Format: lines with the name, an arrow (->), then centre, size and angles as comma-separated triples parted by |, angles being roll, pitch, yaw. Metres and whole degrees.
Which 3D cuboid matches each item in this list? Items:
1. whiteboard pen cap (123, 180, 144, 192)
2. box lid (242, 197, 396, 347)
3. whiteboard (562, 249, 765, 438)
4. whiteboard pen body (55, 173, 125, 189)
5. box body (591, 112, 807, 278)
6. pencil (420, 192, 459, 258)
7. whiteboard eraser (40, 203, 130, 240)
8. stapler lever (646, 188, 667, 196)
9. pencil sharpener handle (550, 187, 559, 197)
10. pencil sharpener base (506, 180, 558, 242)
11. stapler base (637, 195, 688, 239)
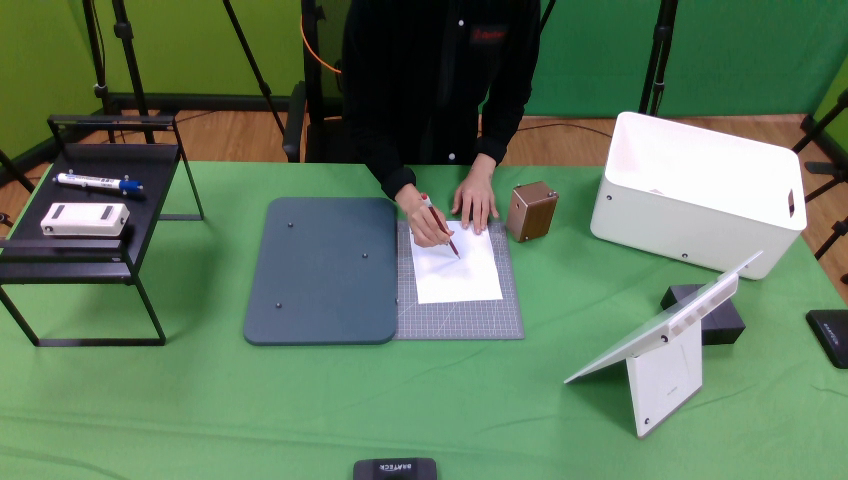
whiteboard pen cap -> -0.479, -0.089, 0.993 | 0.033, 0.018, 0.018 | 7, 46, 14
box lid -> -0.186, 0.046, 1.147 | 0.263, 0.015, 0.369 | 0, 46, -3
whiteboard -> 0.386, 0.175, 0.905 | 0.217, 0.306, 0.143 | -26, 72, -26
whiteboard pen body -> -0.539, -0.095, 0.998 | 0.141, 0.017, 0.017 | 6, 46, 6
box body -> 0.540, -0.092, 1.229 | 0.363, 0.161, 0.253 | 16, 47, 11
pencil -> 0.032, -0.022, 1.108 | 0.012, 0.195, 0.012 | -14, 49, 16
whiteboard eraser -> -0.513, -0.028, 0.922 | 0.113, 0.042, 0.055 | 1, 48, -3
stapler lever -> 0.507, -0.075, 1.262 | 0.027, 0.040, 0.117 | -14, 46, -19
pencil sharpener handle -> 0.261, -0.084, 1.221 | 0.031, 0.068, 0.036 | -16, 65, -19
pencil sharpener base -> 0.216, -0.058, 1.211 | 0.077, 0.107, 0.061 | -16, 49, -19
stapler base -> 0.507, -0.055, 1.280 | 0.041, 0.024, 0.129 | -14, 47, -19
